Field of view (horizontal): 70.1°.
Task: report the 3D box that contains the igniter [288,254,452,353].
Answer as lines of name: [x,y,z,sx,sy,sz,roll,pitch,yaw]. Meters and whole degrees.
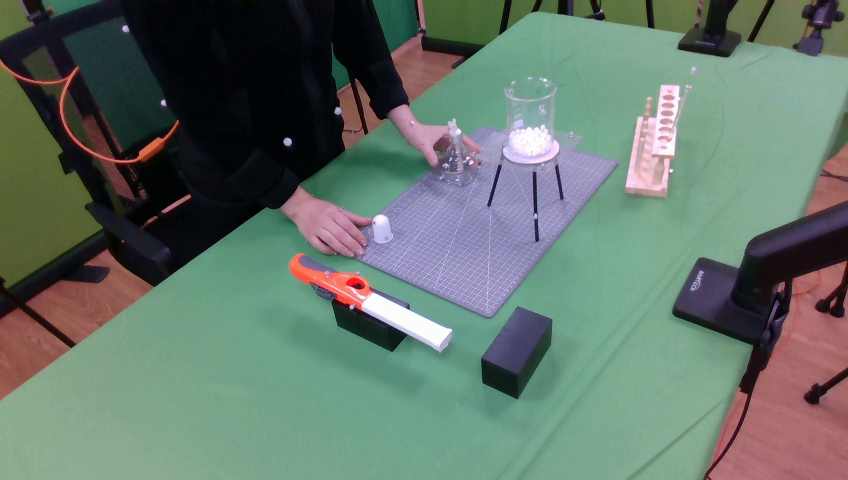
igniter: [-0.083,0.079,0.818,0.274,0.025,0.057,23,46,27]

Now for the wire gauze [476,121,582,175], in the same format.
wire gauze: [0.162,-0.142,0.929,0.120,0.011,0.125,19,49,32]

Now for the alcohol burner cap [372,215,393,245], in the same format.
alcohol burner cap: [-0.070,-0.019,0.990,0.034,0.048,0.033,-4,41,4]

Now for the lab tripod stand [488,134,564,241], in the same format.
lab tripod stand: [0.168,-0.092,0.972,0.148,0.132,0.147,-5,41,5]

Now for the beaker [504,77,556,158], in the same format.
beaker: [0.160,-0.181,0.900,0.084,0.101,0.073,-32,46,-27]

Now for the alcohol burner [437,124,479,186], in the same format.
alcohol burner: [0.059,-0.157,1.079,0.078,0.119,0.077,-4,42,5]

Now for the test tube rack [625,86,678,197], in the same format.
test tube rack: [0.412,-0.184,1.088,0.066,0.085,0.242,9,43,18]

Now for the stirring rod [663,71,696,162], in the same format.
stirring rod: [0.410,-0.195,0.981,0.014,0.177,0.006,11,50,13]
